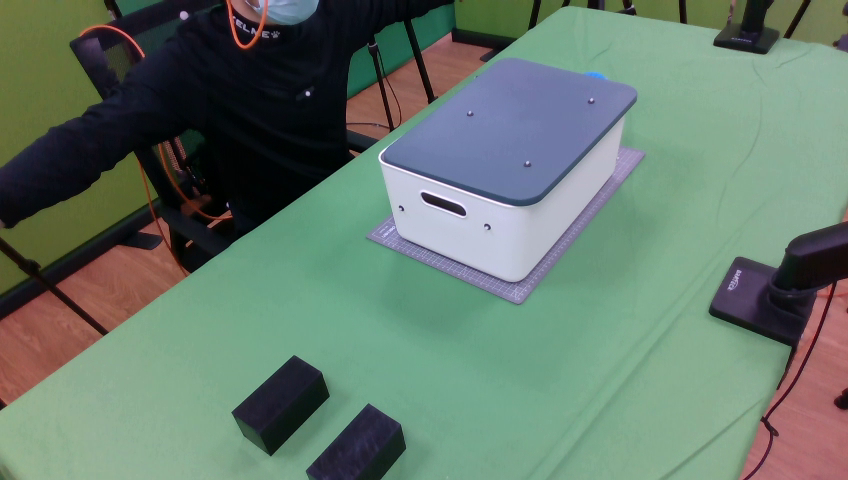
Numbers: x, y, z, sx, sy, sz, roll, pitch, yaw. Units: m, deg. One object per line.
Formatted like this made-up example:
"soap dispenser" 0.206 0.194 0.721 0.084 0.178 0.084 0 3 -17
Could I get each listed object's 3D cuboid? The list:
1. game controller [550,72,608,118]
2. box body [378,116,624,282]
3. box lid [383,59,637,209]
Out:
"game controller" 0.326 -0.306 1.260 0.096 0.052 0.155 13 45 17
"box body" 0.137 -0.121 0.978 0.252 0.161 0.365 22 48 30
"box lid" 0.141 -0.182 0.928 0.261 0.015 0.372 23 48 29
